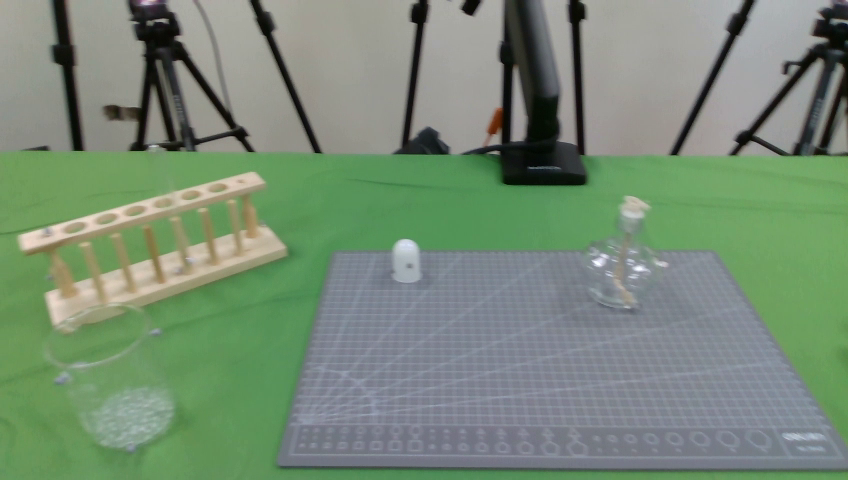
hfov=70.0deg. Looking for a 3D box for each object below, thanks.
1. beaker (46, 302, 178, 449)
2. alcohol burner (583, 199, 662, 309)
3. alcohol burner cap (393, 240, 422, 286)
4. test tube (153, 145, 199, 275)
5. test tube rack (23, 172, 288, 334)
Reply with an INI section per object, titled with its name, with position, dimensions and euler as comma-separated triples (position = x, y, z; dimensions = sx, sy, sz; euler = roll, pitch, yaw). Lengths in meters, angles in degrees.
[beaker]
position = -0.246, 0.110, 0.484
dimensions = 0.083, 0.101, 0.074
euler = 17, 37, 26
[alcohol burner]
position = 0.203, 0.010, 0.613
dimensions = 0.078, 0.120, 0.077
euler = 1, 34, 0
[alcohol burner cap]
position = -0.018, 0.022, 0.663
dimensions = 0.034, 0.048, 0.033
euler = -1, 33, 1
[test tube]
position = -0.254, -0.027, 0.625
dimensions = 0.017, 0.151, 0.017
euler = 0, 34, 0
[test tube rack]
position = -0.278, 0.007, 0.656
dimensions = 0.243, 0.086, 0.066
euler = -20, 38, -28
